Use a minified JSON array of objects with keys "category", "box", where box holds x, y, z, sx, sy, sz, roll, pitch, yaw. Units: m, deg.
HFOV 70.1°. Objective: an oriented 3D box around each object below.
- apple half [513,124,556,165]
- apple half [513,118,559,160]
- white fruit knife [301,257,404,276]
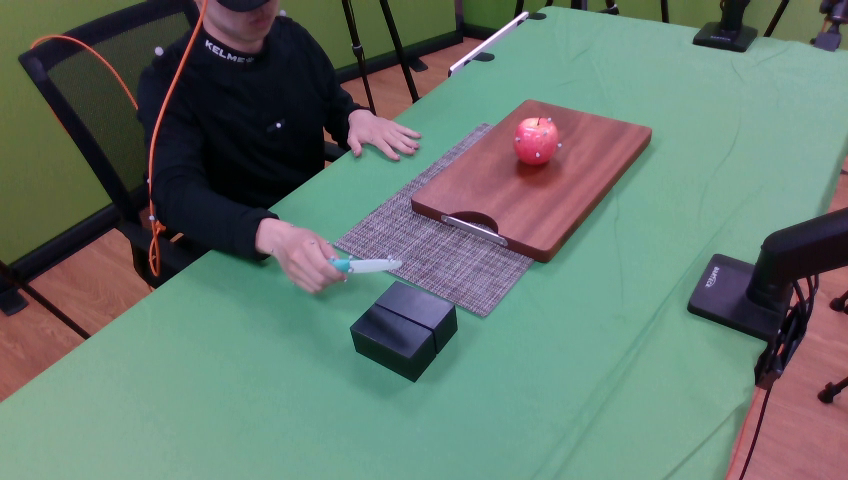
[{"category":"apple half","box":[0.185,-0.157,1.041,0.081,0.081,0.033,14,41,23]},{"category":"apple half","box":[0.203,-0.180,1.067,0.080,0.075,0.053,12,40,27]},{"category":"white fruit knife","box":[-0.103,0.034,0.826,0.206,0.027,0.016,-6,37,40]}]
